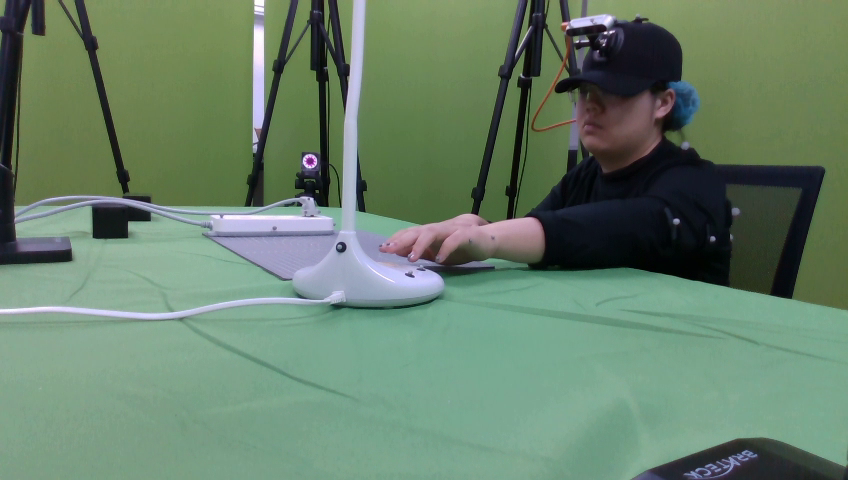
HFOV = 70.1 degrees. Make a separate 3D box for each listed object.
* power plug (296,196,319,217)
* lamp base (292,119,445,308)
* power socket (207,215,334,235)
[{"bbox_3d":[-0.219,-0.056,1.142,0.035,0.052,0.072,0,7,-19],"label":"power plug"},{"bbox_3d":[-0.056,-0.030,0.616,0.160,0.180,0.179,3,10,8],"label":"lamp base"},{"bbox_3d":[-0.270,-0.028,1.082,0.228,0.032,0.072,-1,7,-30],"label":"power socket"}]
